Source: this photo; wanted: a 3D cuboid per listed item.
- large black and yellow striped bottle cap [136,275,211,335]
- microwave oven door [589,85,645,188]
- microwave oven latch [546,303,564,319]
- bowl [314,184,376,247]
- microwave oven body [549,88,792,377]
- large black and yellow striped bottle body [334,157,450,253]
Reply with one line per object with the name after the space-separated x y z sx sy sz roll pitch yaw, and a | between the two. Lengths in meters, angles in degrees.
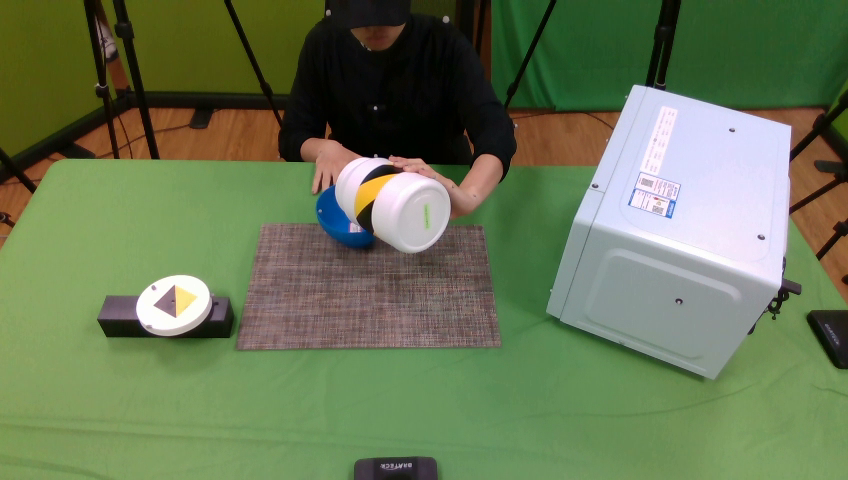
-0.412 0.105 0.999 0.115 0.019 0.114 3 46 -3 | large black and yellow striped bottle cap
0.341 -0.107 1.149 0.039 0.245 0.354 20 48 15 | microwave oven door
0.242 0.102 1.081 0.030 0.029 0.079 21 48 17 | microwave oven latch
-0.136 -0.039 1.180 0.151 0.077 0.150 3 46 -2 | bowl
0.456 -0.028 1.088 0.325 0.261 0.440 20 47 16 | microwave oven body
-0.060 -0.067 1.041 0.131 0.131 0.183 -31 40 -29 | large black and yellow striped bottle body
